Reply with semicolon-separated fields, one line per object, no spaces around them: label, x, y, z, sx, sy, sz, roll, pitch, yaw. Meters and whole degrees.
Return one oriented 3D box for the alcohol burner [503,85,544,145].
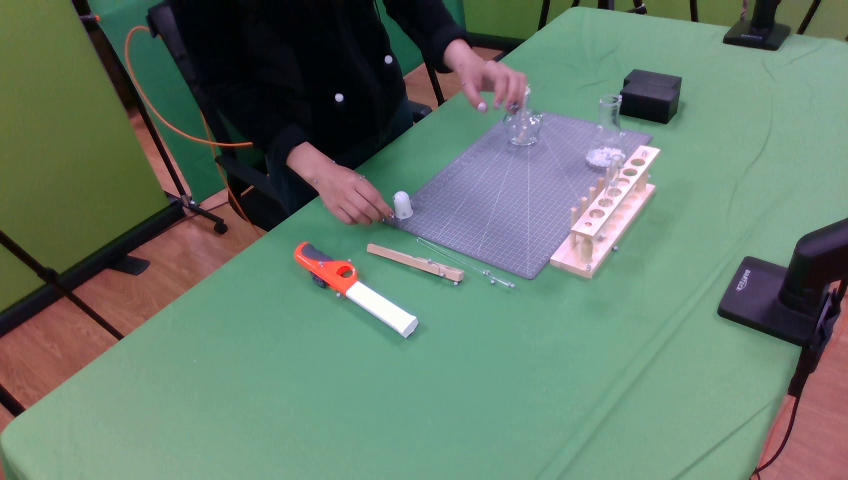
alcohol burner;0.191;-0.243;1.160;0.078;0.119;0.077;-4;40;4

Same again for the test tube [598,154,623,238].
test tube;0.269;-0.059;0.876;0.017;0.151;0.017;-2;44;3

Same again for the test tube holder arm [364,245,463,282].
test tube holder arm;-0.020;0.035;0.946;0.177;0.015;0.013;15;9;26

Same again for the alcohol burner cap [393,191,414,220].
alcohol burner cap;-0.037;-0.062;1.045;0.034;0.048;0.033;-5;40;5

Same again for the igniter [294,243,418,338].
igniter;-0.114;0.070;0.919;0.274;0.025;0.057;29;63;37

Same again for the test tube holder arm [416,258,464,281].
test tube holder arm;0.021;0.045;0.931;0.087;0.015;0.010;16;9;28

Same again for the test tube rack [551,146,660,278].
test tube rack;0.286;-0.053;0.943;0.066;0.085;0.243;21;49;32

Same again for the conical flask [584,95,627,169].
conical flask;0.323;-0.192;1.066;0.075;0.122;0.075;-6;40;5

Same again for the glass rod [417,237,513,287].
glass rod;0.059;0.032;0.944;0.198;0.008;0.008;26;52;38
